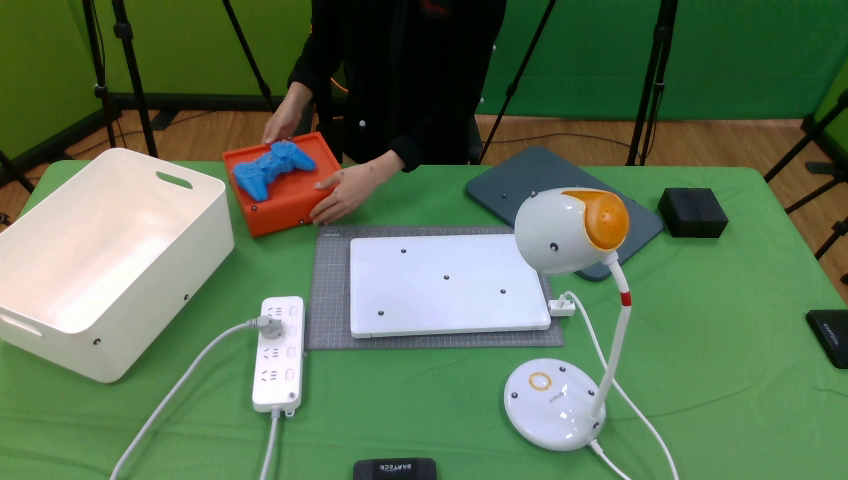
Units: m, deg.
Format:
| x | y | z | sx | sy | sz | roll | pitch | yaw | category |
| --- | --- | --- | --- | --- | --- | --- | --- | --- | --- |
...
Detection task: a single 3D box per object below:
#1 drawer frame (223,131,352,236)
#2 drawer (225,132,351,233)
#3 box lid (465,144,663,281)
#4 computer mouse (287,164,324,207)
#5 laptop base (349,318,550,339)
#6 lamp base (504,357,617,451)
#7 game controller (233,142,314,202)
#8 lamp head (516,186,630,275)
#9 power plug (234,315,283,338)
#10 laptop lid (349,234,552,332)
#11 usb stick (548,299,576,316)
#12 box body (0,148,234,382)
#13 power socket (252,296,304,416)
| x | y | z | sx | sy | sz | roll | pitch | yaw | category |
| --- | --- | --- | --- | --- | --- | --- | --- | --- | --- |
| -0.280 | -0.121 | 1.250 | 0.214 | 0.083 | 0.200 | -18 | 51 | -20 | drawer frame |
| -0.280 | -0.122 | 1.253 | 0.212 | 0.073 | 0.193 | -18 | 51 | -20 | drawer |
| 0.298 | -0.072 | 1.298 | 0.263 | 0.015 | 0.369 | -33 | 56 | -31 | box lid |
| -0.249 | -0.118 | 1.272 | 0.063 | 0.041 | 0.116 | -9 | 51 | -16 | computer mouse |
| 0.039 | 0.081 | 1.124 | 0.355 | 0.023 | 0.234 | -2 | 43 | -6 | laptop base |
| 0.220 | 0.211 | 0.903 | 0.160 | 0.181 | 0.178 | -33 | 59 | -30 | lamp base |
| -0.302 | -0.144 | 1.201 | 0.096 | 0.052 | 0.155 | 30 | 50 | 26 | game controller |
| 0.188 | -0.013 | 0.728 | 0.112 | 0.112 | 0.122 | -25 | 9 | -25 | lamp head |
| -0.269 | 0.143 | 1.000 | 0.072 | 0.053 | 0.035 | 4 | 47 | 2 | power plug |
| 0.040 | 0.071 | 1.118 | 0.357 | 0.013 | 0.240 | 0 | 44 | -5 | laptop lid |
| 0.239 | 0.121 | 1.084 | 0.059 | 0.027 | 0.021 | -1 | 52 | -1 | usb stick |
| -0.525 | 0.033 | 1.027 | 0.254 | 0.161 | 0.362 | 18 | 47 | 13 | box body |
| -0.238 | 0.182 | 0.997 | 0.072 | 0.033 | 0.225 | -3 | 47 | -5 | power socket |
